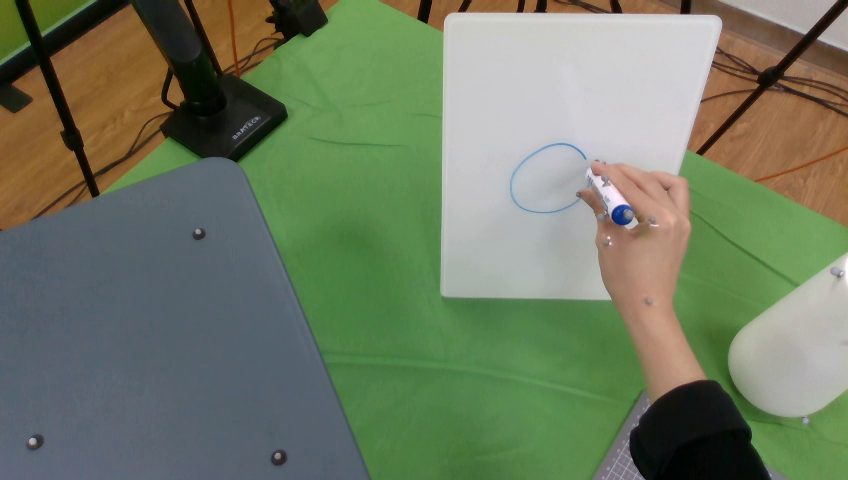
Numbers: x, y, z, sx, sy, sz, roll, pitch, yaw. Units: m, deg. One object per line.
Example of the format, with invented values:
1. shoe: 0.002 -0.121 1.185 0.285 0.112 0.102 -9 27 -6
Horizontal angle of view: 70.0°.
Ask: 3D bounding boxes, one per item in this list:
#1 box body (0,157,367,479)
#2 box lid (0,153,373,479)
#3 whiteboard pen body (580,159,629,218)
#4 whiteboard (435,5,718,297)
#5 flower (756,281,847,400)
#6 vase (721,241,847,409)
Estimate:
1. box body: -0.214 0.140 0.514 0.254 0.162 0.360 -23 62 -13
2. box lid: -0.216 0.100 0.451 0.263 0.015 0.368 -23 62 -14
3. whiteboard pen body: 0.140 -0.046 0.485 0.017 0.017 0.140 3 22 3
4. whiteboard: 0.123 -0.102 0.612 0.217 0.308 0.142 1 40 2
5. flower: 0.343 0.020 0.467 0.044 0.364 0.038 25 45 19
6. vase: 0.341 0.076 0.530 0.098 0.201 0.097 0 57 1
